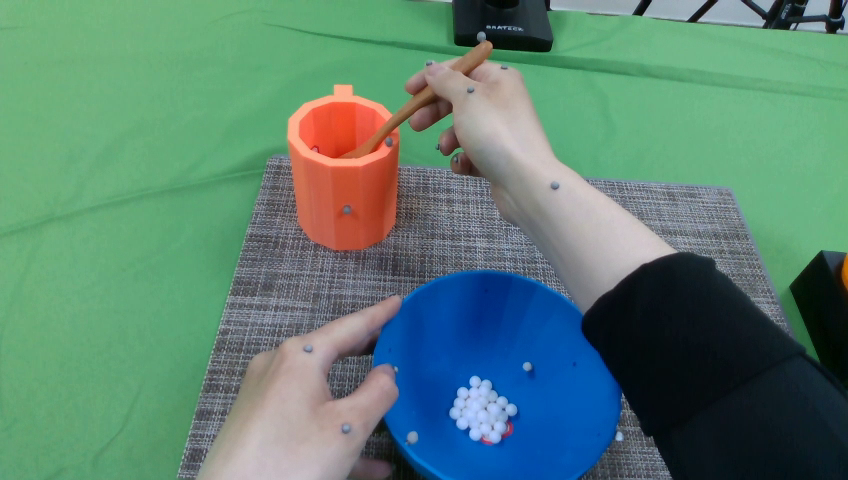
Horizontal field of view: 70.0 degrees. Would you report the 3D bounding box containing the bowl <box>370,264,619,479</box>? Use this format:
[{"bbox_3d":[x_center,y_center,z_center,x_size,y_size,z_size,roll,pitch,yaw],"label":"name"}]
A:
[{"bbox_3d":[0.040,0.098,0.391,0.151,0.077,0.150,3,50,-4],"label":"bowl"}]

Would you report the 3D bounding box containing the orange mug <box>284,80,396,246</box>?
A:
[{"bbox_3d":[-0.070,-0.072,0.508,0.083,0.101,0.125,-3,56,-8],"label":"orange mug"}]

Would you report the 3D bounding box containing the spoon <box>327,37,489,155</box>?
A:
[{"bbox_3d":[-0.028,-0.088,0.461,0.022,0.194,0.041,15,48,-47],"label":"spoon"}]
